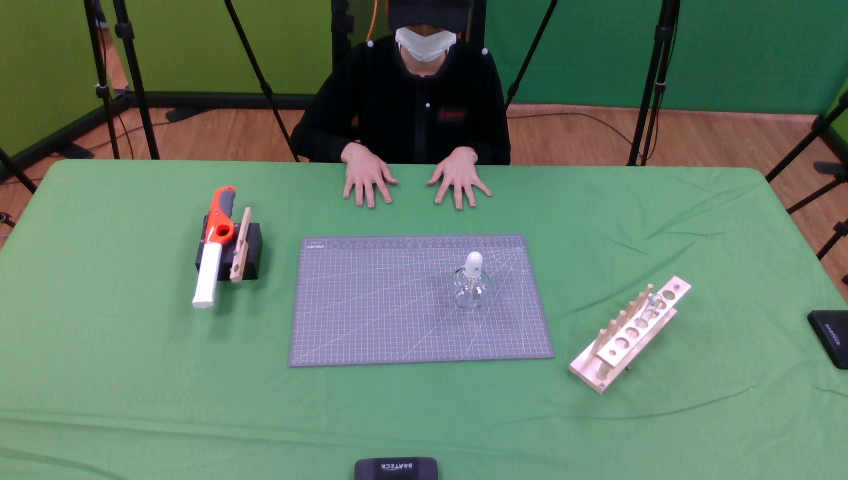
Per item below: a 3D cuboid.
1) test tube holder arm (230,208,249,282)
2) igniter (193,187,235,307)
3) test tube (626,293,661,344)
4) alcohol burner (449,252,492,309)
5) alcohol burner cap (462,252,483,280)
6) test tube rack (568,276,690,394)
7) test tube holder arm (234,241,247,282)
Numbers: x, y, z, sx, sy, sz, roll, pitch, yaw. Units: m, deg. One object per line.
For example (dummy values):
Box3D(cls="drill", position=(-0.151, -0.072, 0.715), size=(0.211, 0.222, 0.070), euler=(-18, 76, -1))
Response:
Box3D(cls="test tube holder arm", position=(-0.334, 0.006, 1.103), size=(0.013, 0.015, 0.177), euler=(-7, 46, -1))
Box3D(cls="igniter", position=(-0.379, 0.003, 1.096), size=(0.057, 0.025, 0.274), euler=(-1, 49, -6))
Box3D(cls="test tube", position=(0.355, 0.133, 0.984), size=(0.017, 0.151, 0.017), euler=(1, 52, 0))
Box3D(cls="alcohol burner", position=(0.084, 0.066, 1.074), size=(0.078, 0.120, 0.077), euler=(1, 44, -1))
Box3D(cls="alcohol burner cap", position=(0.085, 0.041, 1.048), size=(0.034, 0.048, 0.033), euler=(4, 44, -4))
Box3D(cls="test tube rack", position=(0.353, 0.149, 1.039), size=(0.242, 0.085, 0.066), euler=(-34, 56, -31))
Box3D(cls="test tube holder arm", position=(-0.324, 0.037, 1.071), size=(0.010, 0.015, 0.087), euler=(-7, 46, -1))
